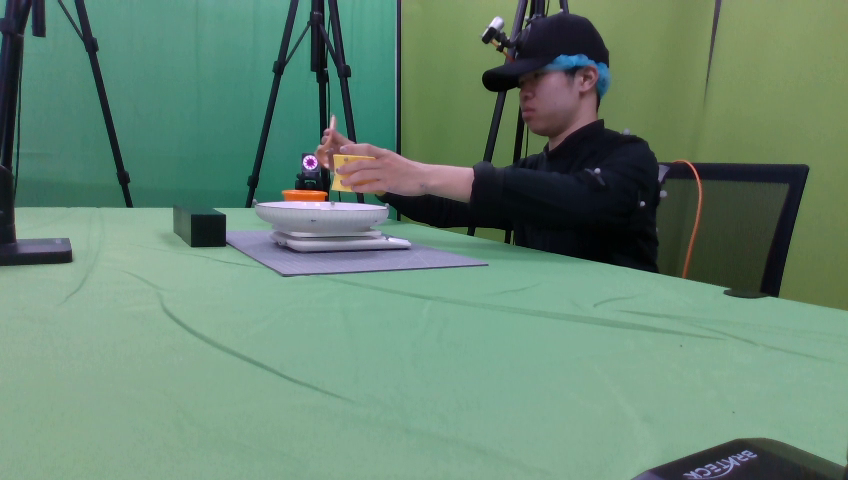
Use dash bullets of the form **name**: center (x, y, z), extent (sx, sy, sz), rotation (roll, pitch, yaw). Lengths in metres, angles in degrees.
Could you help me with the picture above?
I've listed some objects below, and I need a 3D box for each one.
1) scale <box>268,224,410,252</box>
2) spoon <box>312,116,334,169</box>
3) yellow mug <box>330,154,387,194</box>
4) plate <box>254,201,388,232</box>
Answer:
- **scale**: center (-0.138, -0.006, 0.980), extent (0.202, 0.031, 0.148), rotation (-1, 8, -30)
- **spoon**: center (-0.212, -0.215, 1.308), extent (0.021, 0.042, 0.193), rotation (-26, 35, 27)
- **yellow mug**: center (-0.117, -0.123, 1.127), extent (0.100, 0.064, 0.131), rotation (7, 6, 14)
- **plate**: center (-0.161, -0.038, 0.961), extent (0.209, 0.038, 0.209), rotation (2, 6, 0)
